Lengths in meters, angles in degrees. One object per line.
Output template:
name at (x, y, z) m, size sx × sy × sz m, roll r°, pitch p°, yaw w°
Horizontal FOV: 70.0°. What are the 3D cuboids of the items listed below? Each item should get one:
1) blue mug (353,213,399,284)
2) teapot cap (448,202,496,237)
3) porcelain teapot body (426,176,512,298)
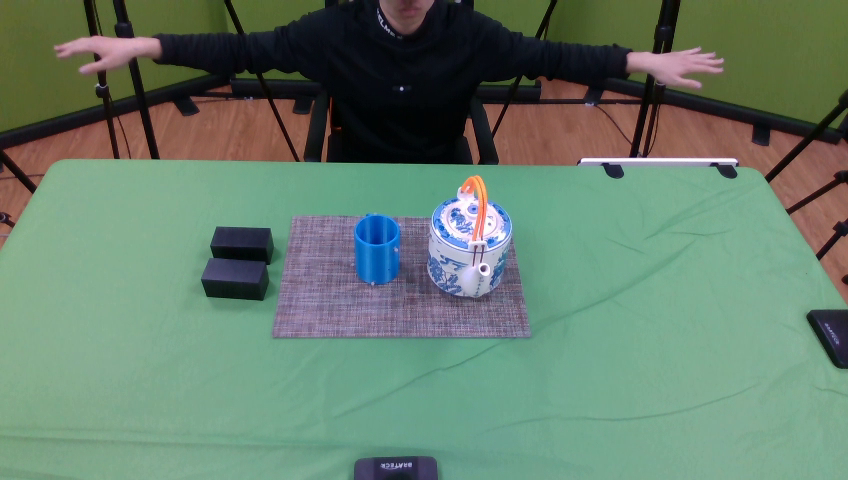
blue mug at (-0.093, 0.006, 1.123) m, size 0.082 × 0.106 × 0.115 m, roll -12°, pitch 48°, yaw -15°
teapot cap at (0.083, -0.038, 1.041) m, size 0.085 × 0.044 × 0.084 m, roll 0°, pitch 48°, yaw 0°
porcelain teapot body at (0.085, 0.009, 1.051) m, size 0.145 × 0.226 × 0.204 m, roll -5°, pitch 47°, yaw -9°
